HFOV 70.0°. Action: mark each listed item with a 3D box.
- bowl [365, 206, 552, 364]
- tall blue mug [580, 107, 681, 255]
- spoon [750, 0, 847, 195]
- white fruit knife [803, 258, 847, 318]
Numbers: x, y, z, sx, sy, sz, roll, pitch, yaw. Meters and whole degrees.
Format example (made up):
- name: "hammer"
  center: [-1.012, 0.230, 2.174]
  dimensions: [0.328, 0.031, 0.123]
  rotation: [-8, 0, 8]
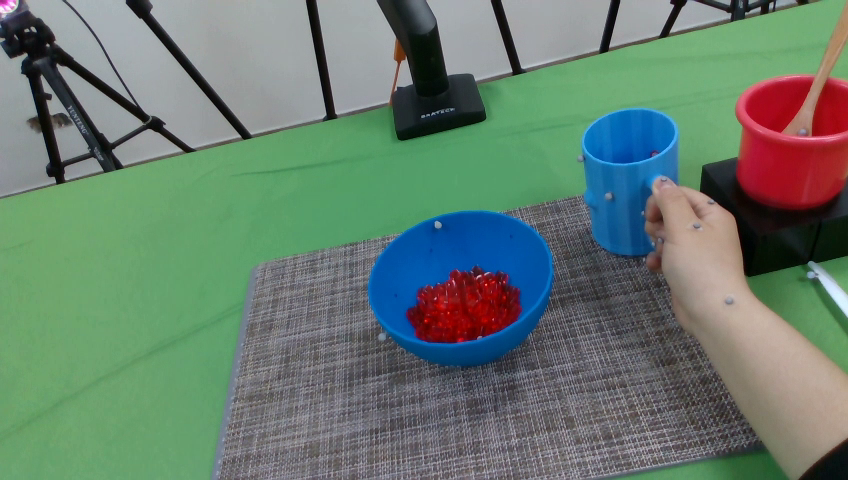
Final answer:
- name: "bowl"
  center: [0.034, 0.050, 0.505]
  dimensions: [0.151, 0.077, 0.150]
  rotation: [-9, 42, 8]
- name: "tall blue mug"
  center: [0.192, -0.045, 0.528]
  dimensions: [0.077, 0.109, 0.106]
  rotation: [-41, 46, -20]
- name: "spoon"
  center: [0.319, -0.127, 0.490]
  dimensions: [0.041, 0.022, 0.194]
  rotation: [27, 101, 39]
- name: "white fruit knife"
  center: [0.332, 0.082, 0.434]
  dimensions: [0.027, 0.016, 0.205]
  rotation: [9, 37, -14]
